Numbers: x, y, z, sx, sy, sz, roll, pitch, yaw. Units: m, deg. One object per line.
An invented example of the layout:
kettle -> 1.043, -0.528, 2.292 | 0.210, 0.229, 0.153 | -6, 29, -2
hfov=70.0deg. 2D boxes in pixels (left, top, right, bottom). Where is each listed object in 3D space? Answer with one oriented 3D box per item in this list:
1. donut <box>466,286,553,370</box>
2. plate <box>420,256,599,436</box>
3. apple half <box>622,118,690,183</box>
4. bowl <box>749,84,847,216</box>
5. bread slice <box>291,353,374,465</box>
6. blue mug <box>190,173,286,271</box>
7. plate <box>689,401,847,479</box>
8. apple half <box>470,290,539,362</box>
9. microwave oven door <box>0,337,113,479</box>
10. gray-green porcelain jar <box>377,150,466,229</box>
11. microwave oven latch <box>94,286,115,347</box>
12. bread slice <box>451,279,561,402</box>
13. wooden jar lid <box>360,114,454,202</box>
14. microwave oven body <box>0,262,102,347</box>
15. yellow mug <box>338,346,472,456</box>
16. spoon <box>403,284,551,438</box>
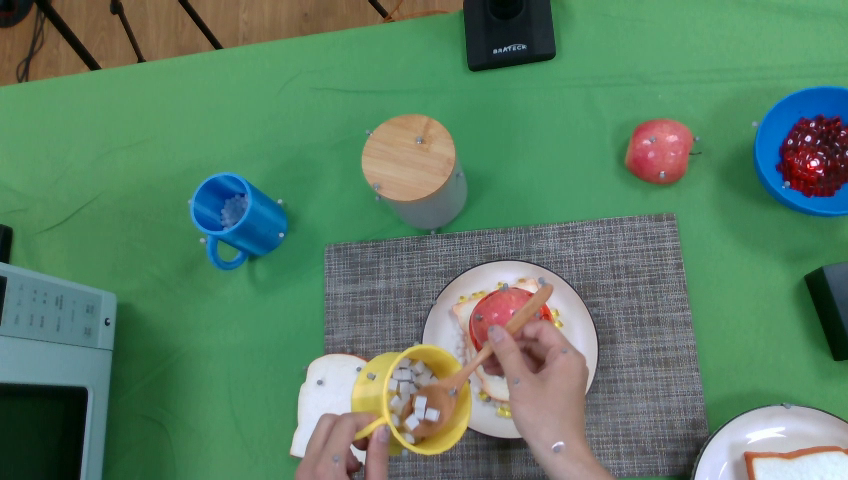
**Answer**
donut -> 0.098, 0.101, 0.697 | 0.099, 0.048, 0.098 | -3, 76, 11
plate -> 0.099, 0.124, 0.720 | 0.207, 0.039, 0.206 | -3, 75, 11
apple half -> 0.285, -0.115, 0.741 | 0.074, 0.054, 0.080 | 17, 80, 18
bowl -> 0.443, -0.091, 0.690 | 0.151, 0.077, 0.150 | -3, 76, 11
bread slice -> -0.110, 0.207, 0.752 | 0.104, 0.019, 0.131 | 2, 78, 10
blue mug -> -0.246, -0.016, 0.792 | 0.082, 0.106, 0.116 | 15, 79, 15
plate -> 0.382, 0.274, 0.629 | 0.209, 0.038, 0.208 | -3, 75, 11
apple half -> 0.087, 0.092, 0.663 | 0.081, 0.033, 0.081 | -5, 72, 16
microwave oven door -> -0.450, 0.289, 0.663 | 0.039, 0.245, 0.353 | -5, 74, 10
gray-green porcelain jar -> -0.005, -0.075, 0.749 | 0.105, 0.127, 0.105 | -3, 75, 11
microwave oven latch -> -0.438, 0.103, 0.815 | 0.030, 0.030, 0.079 | -1, 76, 11
bread slice -> 0.105, 0.123, 0.722 | 0.107, 0.018, 0.133 | -22, 72, 5
wooden jar lid -> -0.018, -0.091, 0.689 | 0.108, 0.021, 0.107 | -3, 73, 9
microwave oven body -> -0.594, 0.263, 0.703 | 0.325, 0.262, 0.439 | -5, 75, 10
yellow mug -> -0.024, 0.160, 0.576 | 0.131, 0.064, 0.100 | -21, 87, -37
spoon -> 0.050, 0.113, 0.561 | 0.041, 0.022, 0.194 | 46, 105, 15
